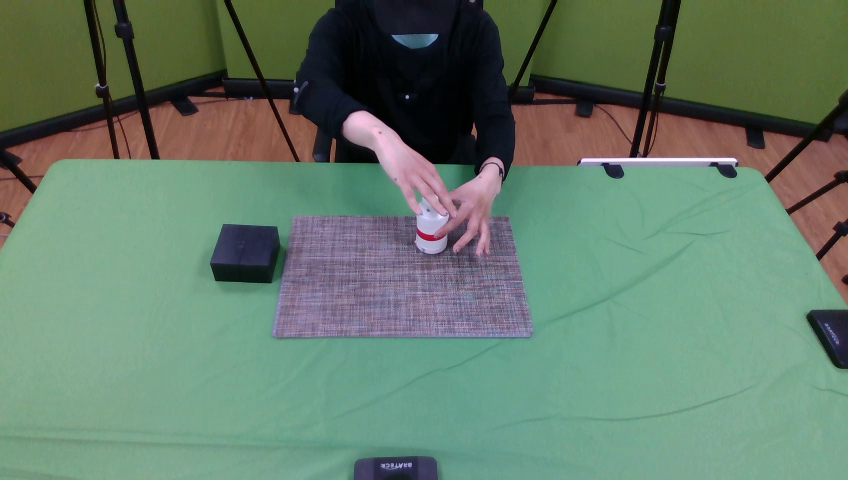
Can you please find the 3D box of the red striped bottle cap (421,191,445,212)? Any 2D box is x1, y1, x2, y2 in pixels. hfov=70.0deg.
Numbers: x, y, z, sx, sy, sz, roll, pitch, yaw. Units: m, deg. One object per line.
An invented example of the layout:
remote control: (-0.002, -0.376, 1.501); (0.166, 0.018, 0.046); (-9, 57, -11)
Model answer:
red striped bottle cap: (0.017, -0.072, 1.116); (0.044, 0.018, 0.044); (1, 44, -1)

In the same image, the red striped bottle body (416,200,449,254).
red striped bottle body: (0.016, -0.035, 1.155); (0.063, 0.120, 0.062); (0, 47, 0)
